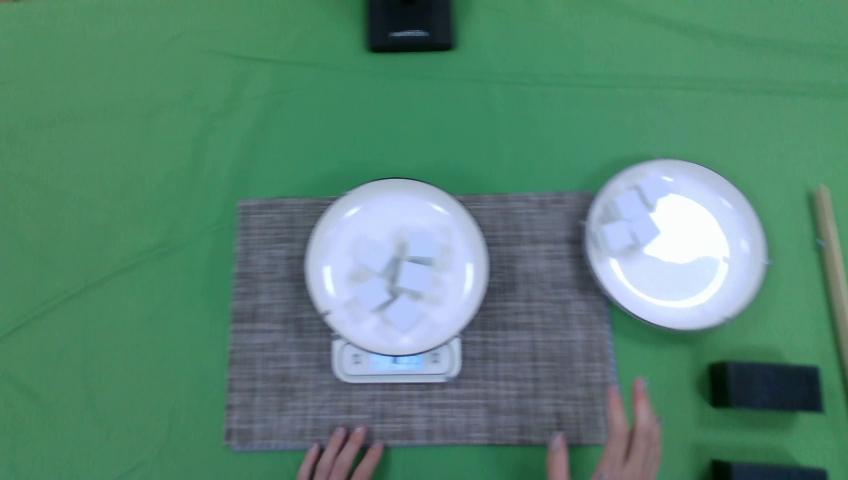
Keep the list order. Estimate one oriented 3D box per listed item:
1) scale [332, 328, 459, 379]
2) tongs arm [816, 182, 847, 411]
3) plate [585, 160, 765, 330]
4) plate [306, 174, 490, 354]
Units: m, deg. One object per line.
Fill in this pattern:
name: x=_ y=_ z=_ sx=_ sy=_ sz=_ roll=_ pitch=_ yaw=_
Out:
scale: x=-0.033 y=0.063 z=0.720 sx=0.148 sy=0.032 sz=0.200 roll=0 pitch=76 yaw=1
tongs arm: x=0.494 y=0.119 z=0.697 sx=0.028 sy=0.028 sz=0.385 roll=-1 pitch=76 yaw=-2
plate: x=0.295 y=0.007 z=0.727 sx=0.207 sy=0.039 sz=0.206 roll=0 pitch=76 yaw=1
plate: x=-0.029 y=0.026 z=0.695 sx=0.209 sy=0.038 sz=0.208 roll=0 pitch=76 yaw=1
